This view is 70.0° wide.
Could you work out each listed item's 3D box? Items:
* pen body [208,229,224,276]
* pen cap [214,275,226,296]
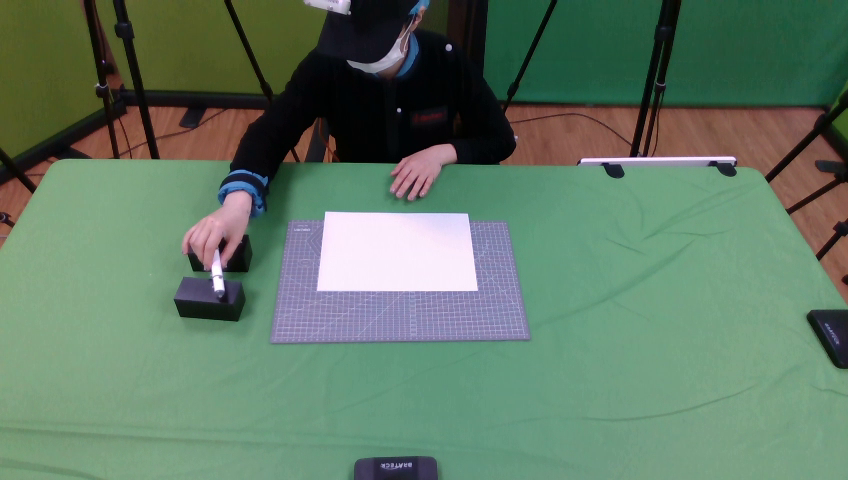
[{"bbox_3d":[-0.363,0.034,1.059,0.017,0.017,0.143,-12,48,-15],"label":"pen body"},{"bbox_3d":[-0.343,0.076,1.019,0.017,0.017,0.038,-12,48,-15],"label":"pen cap"}]
